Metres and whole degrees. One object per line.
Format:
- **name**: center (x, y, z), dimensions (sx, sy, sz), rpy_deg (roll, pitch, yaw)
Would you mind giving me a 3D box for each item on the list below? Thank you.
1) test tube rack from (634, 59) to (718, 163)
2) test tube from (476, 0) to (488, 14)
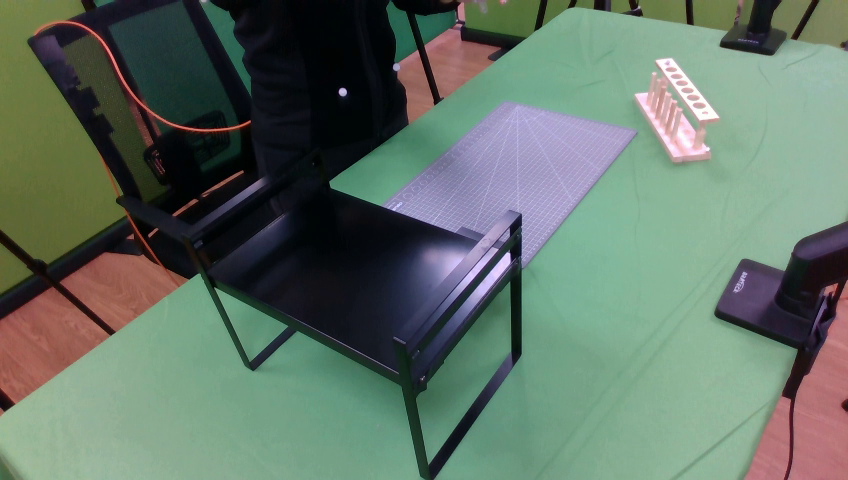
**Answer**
- **test tube rack**: center (0.470, -0.251, 1.148), dimensions (0.067, 0.085, 0.241), rpy_deg (-6, 40, 3)
- **test tube**: center (0.081, -0.399, 0.943), dimensions (0.017, 0.151, 0.017), rpy_deg (-3, 77, 15)
